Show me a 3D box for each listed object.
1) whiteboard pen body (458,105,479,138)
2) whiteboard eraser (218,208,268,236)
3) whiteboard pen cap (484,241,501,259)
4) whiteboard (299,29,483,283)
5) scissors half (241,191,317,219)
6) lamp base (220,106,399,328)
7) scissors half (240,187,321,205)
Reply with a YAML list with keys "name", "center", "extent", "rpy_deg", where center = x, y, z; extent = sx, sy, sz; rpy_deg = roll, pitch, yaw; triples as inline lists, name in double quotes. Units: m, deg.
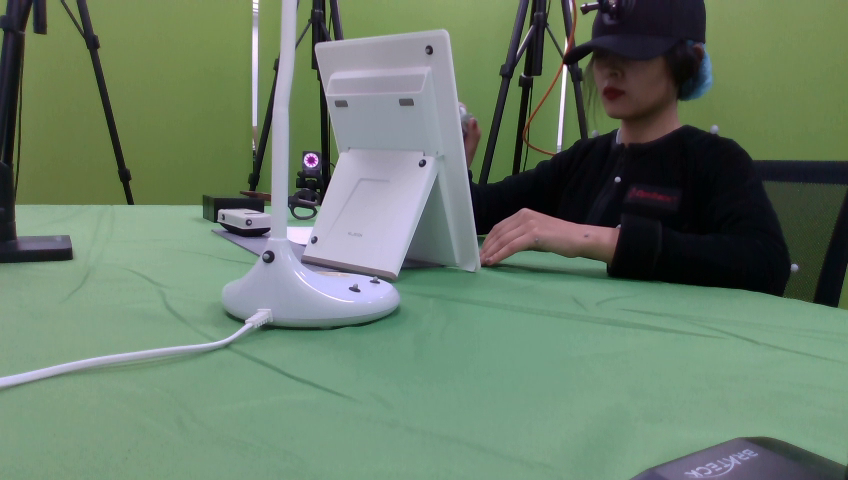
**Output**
- name: "whiteboard pen body"
  center: [0.062, -0.170, 0.864]
  extent: [0.017, 0.017, 0.141]
  rpy_deg: [4, -4, 13]
- name: "whiteboard eraser"
  center: [-0.309, -0.031, 1.044]
  extent: [0.056, 0.042, 0.112]
  rpy_deg: [-2, 9, -40]
- name: "whiteboard pen cap"
  center: [0.097, 0.014, 0.868]
  extent: [0.018, 0.018, 0.033]
  rpy_deg: [0, 21, -17]
- name: "whiteboard"
  center: [-0.074, -0.082, 0.742]
  extent: [0.216, 0.305, 0.144]
  rpy_deg: [9, 29, 38]
- name: "scissors half"
  center: [-0.317, -0.079, 1.326]
  extent: [0.176, 0.040, 0.013]
  rpy_deg: [18, 16, -31]
- name: "lamp base"
  center: [-0.101, -0.023, 0.531]
  extent: [0.160, 0.180, 0.179]
  rpy_deg: [4, 10, 10]
- name: "scissors half"
  center: [-0.311, -0.097, 1.319]
  extent: [0.176, 0.040, 0.012]
  rpy_deg: [-1, 30, -25]
